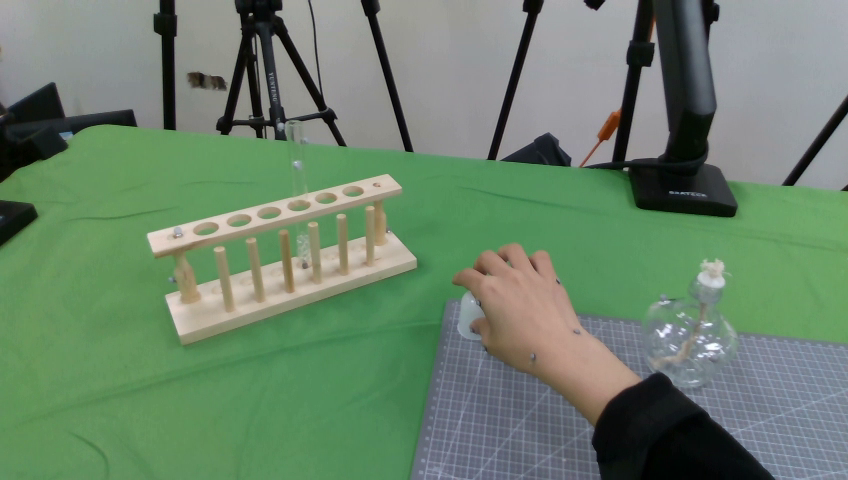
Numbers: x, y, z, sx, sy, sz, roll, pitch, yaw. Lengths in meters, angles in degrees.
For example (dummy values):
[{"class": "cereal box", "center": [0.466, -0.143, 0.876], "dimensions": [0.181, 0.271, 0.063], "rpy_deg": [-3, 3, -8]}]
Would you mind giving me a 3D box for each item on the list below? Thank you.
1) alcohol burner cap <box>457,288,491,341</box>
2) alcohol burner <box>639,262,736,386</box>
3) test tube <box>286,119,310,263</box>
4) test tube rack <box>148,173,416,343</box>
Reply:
[{"class": "alcohol burner cap", "center": [0.047, 0.066, 0.560], "dimensions": [0.034, 0.048, 0.033], "rpy_deg": [2, 36, -1]}, {"class": "alcohol burner", "center": [0.224, 0.065, 0.506], "dimensions": [0.078, 0.120, 0.077], "rpy_deg": [2, 37, -1]}, {"class": "test tube", "center": [-0.122, -0.044, 0.591], "dimensions": [0.017, 0.151, 0.017], "rpy_deg": [2, 29, -1]}, {"class": "test tube rack", "center": [-0.129, 0.011, 0.599], "dimensions": [0.243, 0.086, 0.066], "rpy_deg": [-17, 39, -25]}]
